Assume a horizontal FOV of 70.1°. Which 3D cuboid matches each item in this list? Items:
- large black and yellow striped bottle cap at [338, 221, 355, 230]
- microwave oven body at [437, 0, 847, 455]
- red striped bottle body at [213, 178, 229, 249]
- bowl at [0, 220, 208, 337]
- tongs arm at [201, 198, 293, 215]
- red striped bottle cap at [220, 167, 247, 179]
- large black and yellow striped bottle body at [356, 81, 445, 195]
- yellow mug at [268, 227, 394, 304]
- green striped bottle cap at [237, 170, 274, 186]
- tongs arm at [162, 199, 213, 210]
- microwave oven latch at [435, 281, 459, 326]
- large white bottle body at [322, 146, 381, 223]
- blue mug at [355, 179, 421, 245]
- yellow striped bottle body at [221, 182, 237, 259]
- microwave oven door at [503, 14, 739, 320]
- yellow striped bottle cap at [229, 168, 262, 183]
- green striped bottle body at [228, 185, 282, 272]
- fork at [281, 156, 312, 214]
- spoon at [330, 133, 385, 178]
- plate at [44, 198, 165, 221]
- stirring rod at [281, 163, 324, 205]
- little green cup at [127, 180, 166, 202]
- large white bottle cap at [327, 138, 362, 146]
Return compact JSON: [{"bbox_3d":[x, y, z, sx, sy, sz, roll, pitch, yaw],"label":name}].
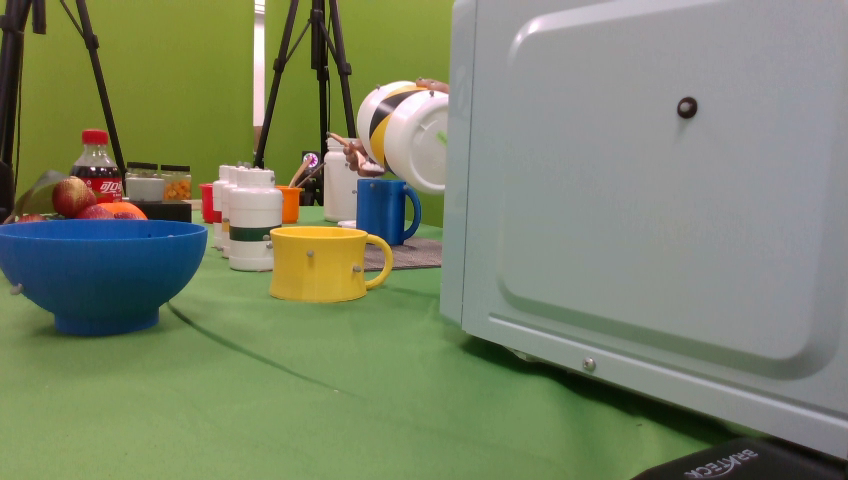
[{"bbox_3d":[-0.107,-0.022,1.148,0.115,0.019,0.115,1,8,0],"label":"large black and yellow striped bottle cap"},{"bbox_3d":[0.279,-0.040,0.464,0.444,0.260,0.324,-3,8,-41],"label":"microwave oven body"},{"bbox_3d":[-0.284,-0.047,0.907,0.063,0.119,0.063,2,8,0],"label":"red striped bottle body"},{"bbox_3d":[-0.251,0.029,0.479,0.151,0.077,0.151,2,7,0],"label":"bowl"},{"bbox_3d":[-0.423,-0.084,1.472,0.050,0.026,0.386,2,6,21],"label":"tongs arm"},{"bbox_3d":[-0.281,-0.100,0.901,0.044,0.017,0.044,-1,5,0],"label":"red striped bottle cap"},{"bbox_3d":[-0.013,-0.150,0.847,0.131,0.130,0.183,-2,22,-29],"label":"large black and yellow striped bottle body"},{"bbox_3d":[-0.094,0.023,0.629,0.131,0.064,0.099,0,7,-22],"label":"yellow mug"},{"bbox_3d":[-0.206,-0.075,0.737,0.044,0.020,0.044,1,6,0],"label":"green striped bottle cap"},{"bbox_3d":[-0.504,-0.091,1.513,0.028,0.028,0.389,0,4,37],"label":"tongs arm"},{"bbox_3d":[0.044,0.046,0.470,0.079,0.029,0.030,-3,8,-40],"label":"microwave oven latch"},{"bbox_3d":[-0.163,-0.134,1.369,0.131,0.184,0.130,2,7,0],"label":"large white bottle body"},{"bbox_3d":[-0.058,-0.047,1.005,0.116,0.106,0.082,5,8,23],"label":"blue mug"},{"bbox_3d":[-0.244,-0.035,0.823,0.063,0.120,0.063,2,8,0],"label":"yellow striped bottle body"},{"bbox_3d":[0.217,-0.065,0.600,0.358,0.243,0.039,-4,10,-41],"label":"microwave oven door"},{"bbox_3d":[-0.240,-0.087,0.816,0.044,0.018,0.044,-2,5,1],"label":"yellow striped bottle cap"},{"bbox_3d":[-0.208,-0.023,0.745,0.063,0.119,0.063,2,7,0],"label":"green striped bottle body"},{"bbox_3d":[-0.289,-0.116,1.320,0.028,0.019,0.207,0,49,25],"label":"fork"},{"bbox_3d":[-0.120,-0.149,1.045,0.042,0.021,0.193,3,31,-36],"label":"spoon"},{"bbox_3d":[-0.617,-0.056,1.179,0.209,0.038,0.209,3,7,0],"label":"plate"},{"bbox_3d":[-0.278,-0.105,1.293,0.176,0.006,0.014,-47,25,-18],"label":"stirring rod"},{"bbox_3d":[-0.486,-0.087,1.061,0.061,0.038,0.061,0,7,0],"label":"little green cup"},{"bbox_3d":[-0.160,-0.218,1.357,0.115,0.018,0.115,2,8,0],"label":"large white bottle cap"}]
